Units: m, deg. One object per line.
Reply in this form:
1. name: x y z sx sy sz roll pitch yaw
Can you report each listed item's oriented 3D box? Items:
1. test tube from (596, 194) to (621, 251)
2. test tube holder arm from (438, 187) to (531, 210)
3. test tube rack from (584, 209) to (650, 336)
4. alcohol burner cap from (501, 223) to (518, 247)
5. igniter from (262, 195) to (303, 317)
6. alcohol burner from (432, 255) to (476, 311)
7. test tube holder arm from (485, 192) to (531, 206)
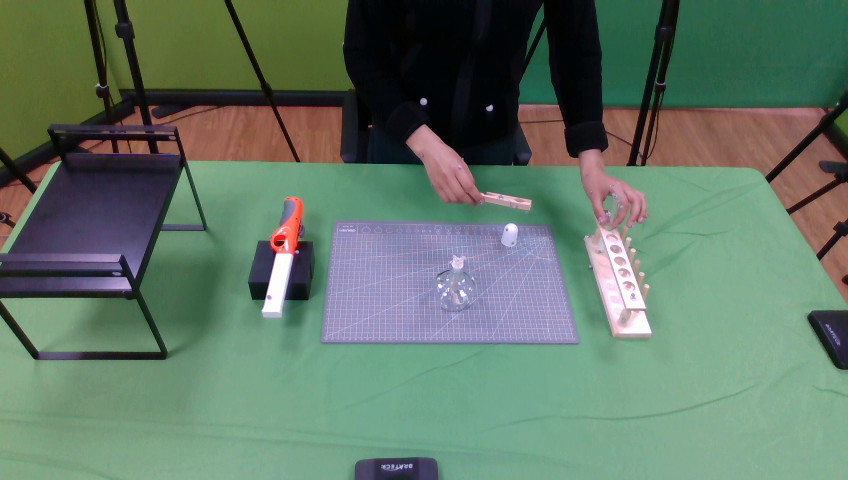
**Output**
1. test tube: 0.346 -0.029 1.141 0.017 0.151 0.017 0 50 1
2. test tube holder arm: 0.111 -0.079 1.137 0.178 0.015 0.013 10 35 16
3. test tube rack: 0.365 0.056 1.129 0.067 0.085 0.240 1 46 -3
4. alcohol burner cap: 0.172 -0.013 1.206 0.034 0.048 0.033 1 45 -1
5. igniter: -0.253 0.020 1.090 0.057 0.025 0.275 0 49 -1
6. alcohol burner: 0.055 0.070 1.068 0.078 0.119 0.077 3 45 -3
7. test tube holder arm: 0.155 -0.074 1.129 0.087 0.015 0.010 11 35 17
